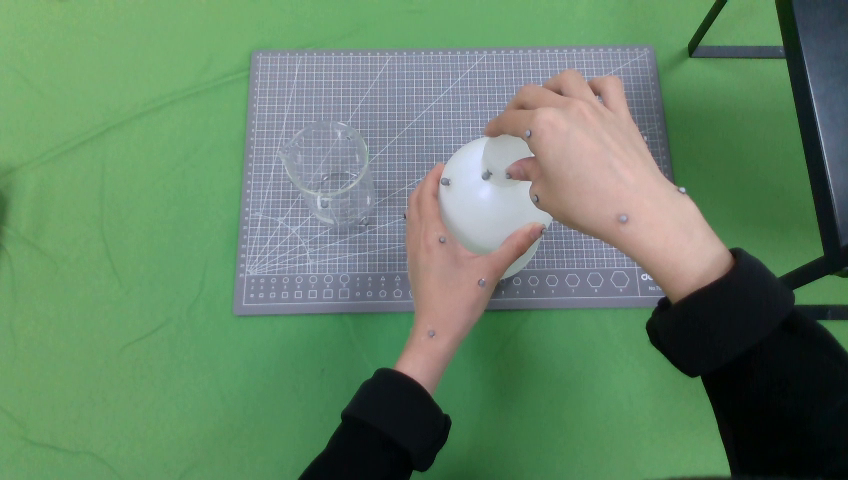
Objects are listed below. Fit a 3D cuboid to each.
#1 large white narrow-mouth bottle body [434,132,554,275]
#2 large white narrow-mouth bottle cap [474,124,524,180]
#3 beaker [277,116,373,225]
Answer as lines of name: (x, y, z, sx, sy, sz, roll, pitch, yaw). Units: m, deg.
large white narrow-mouth bottle body: (0.059, -0.036, 0.526, 0.102, 0.195, 0.101, 0, 73, 2)
large white narrow-mouth bottle cap: (0.055, -0.063, 0.439, 0.038, 0.024, 0.037, 0, 74, 2)
beaker: (-0.090, -0.062, 0.581, 0.084, 0.101, 0.073, 9, 72, 3)
